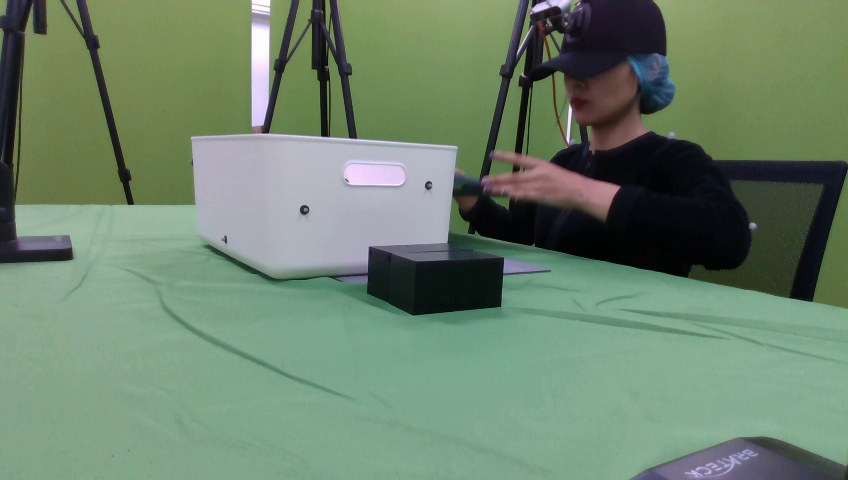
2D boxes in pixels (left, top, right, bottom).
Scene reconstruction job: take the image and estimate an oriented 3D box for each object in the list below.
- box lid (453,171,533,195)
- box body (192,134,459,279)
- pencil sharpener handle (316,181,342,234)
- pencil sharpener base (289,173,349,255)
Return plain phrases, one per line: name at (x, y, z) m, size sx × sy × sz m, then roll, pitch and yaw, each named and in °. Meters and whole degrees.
box lid at (0.000, -0.112, 1.141) m, size 0.265 × 0.015 × 0.369 m, roll 8°, pitch 1°, yaw -33°
box body at (-0.154, -0.059, 0.840) m, size 0.255 × 0.160 × 0.362 m, roll -2°, pitch 9°, yaw -33°
pencil sharpener handle at (-0.119, -0.042, 0.787) m, size 0.036 × 0.067 × 0.030 m, roll 2°, pitch 7°, yaw -31°
pencil sharpener base at (-0.145, -0.037, 0.832) m, size 0.062 × 0.107 × 0.076 m, roll -1°, pitch 8°, yaw -31°
